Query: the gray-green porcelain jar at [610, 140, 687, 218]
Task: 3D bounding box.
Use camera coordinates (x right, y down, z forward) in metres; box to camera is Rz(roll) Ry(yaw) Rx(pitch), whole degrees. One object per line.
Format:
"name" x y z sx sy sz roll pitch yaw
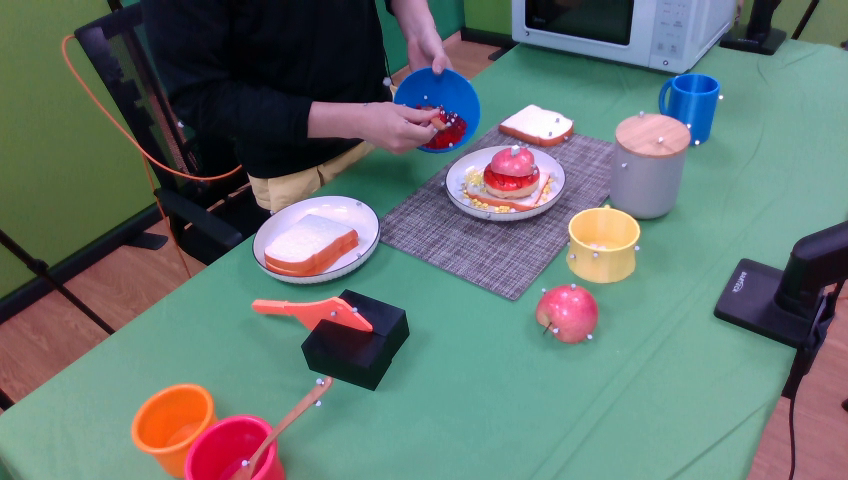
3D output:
"gray-green porcelain jar" 0.354 -0.106 0.964 0.106 0.127 0.105 -4 41 4

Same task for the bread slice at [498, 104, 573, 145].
"bread slice" 0.231 -0.231 1.205 0.105 0.019 0.130 -36 47 -28

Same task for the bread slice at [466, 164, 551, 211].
"bread slice" 0.141 -0.092 1.042 0.133 0.018 0.107 10 43 19

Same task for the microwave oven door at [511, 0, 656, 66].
"microwave oven door" 0.350 -0.539 1.348 0.353 0.245 0.039 24 50 31

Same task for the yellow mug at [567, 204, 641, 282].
"yellow mug" 0.268 -0.005 0.905 0.099 0.064 0.130 6 42 16

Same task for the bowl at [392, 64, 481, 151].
"bowl" 0.017 -0.217 1.042 0.152 0.077 0.151 1 80 -7

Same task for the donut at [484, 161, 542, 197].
"donut" 0.149 -0.109 1.016 0.099 0.048 0.098 -4 40 4

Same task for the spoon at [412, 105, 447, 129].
"spoon" 0.010 -0.198 0.969 0.042 0.022 0.193 -18 18 -4

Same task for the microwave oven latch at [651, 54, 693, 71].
"microwave oven latch" 0.532 -0.386 1.301 0.078 0.029 0.030 26 52 34

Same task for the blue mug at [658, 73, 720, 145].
"blue mug" 0.483 -0.250 1.127 0.082 0.106 0.115 -26 44 -19

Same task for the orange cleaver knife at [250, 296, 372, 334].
"orange cleaver knife" -0.159 0.103 0.828 0.210 0.078 0.012 -4 43 39

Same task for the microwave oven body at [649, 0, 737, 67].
"microwave oven body" 0.475 -0.602 1.411 0.438 0.261 0.327 23 50 32

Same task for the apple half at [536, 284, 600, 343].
"apple half" 0.196 0.091 0.815 0.075 0.053 0.080 -22 42 -20

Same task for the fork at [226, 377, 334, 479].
"fork" -0.163 0.216 0.646 0.207 0.019 0.028 -49 41 16

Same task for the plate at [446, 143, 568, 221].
"plate" 0.142 -0.097 1.045 0.207 0.039 0.206 -4 40 4

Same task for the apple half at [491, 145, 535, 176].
"apple half" 0.147 -0.138 0.993 0.081 0.033 0.081 1 38 0

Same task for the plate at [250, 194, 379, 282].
"plate" -0.174 -0.001 0.984 0.209 0.038 0.208 -3 40 3

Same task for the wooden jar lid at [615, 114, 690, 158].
"wooden jar lid" 0.347 -0.155 0.923 0.108 0.021 0.108 -3 44 4
